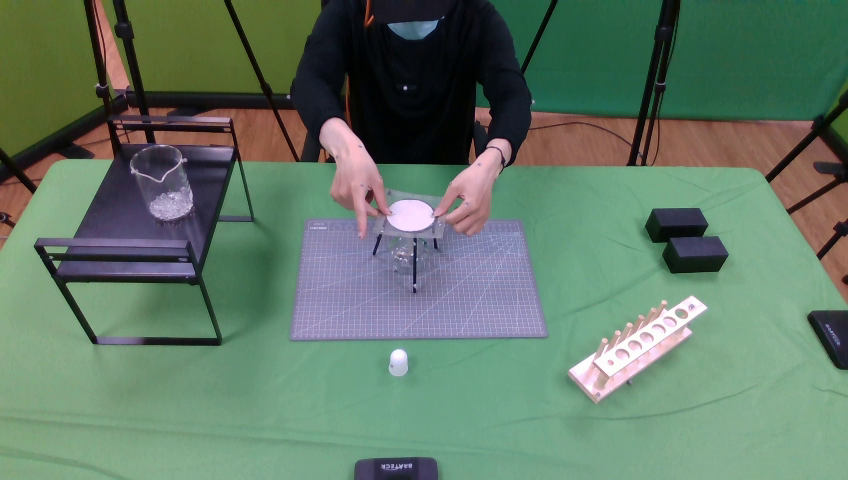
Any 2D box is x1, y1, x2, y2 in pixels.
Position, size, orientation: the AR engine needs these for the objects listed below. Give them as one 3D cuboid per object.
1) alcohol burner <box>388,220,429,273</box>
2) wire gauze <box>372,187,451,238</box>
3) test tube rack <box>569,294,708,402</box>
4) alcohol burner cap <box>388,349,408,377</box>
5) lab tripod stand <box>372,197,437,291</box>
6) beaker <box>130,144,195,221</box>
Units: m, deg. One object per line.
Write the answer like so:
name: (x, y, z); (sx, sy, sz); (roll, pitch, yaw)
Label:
alcohol burner: (-0.028, 0.006, 1.118); (0.078, 0.119, 0.077); (2, 48, -2)
wire gauze: (-0.019, -0.047, 1.058); (0.121, 0.011, 0.124); (9, 41, 3)
test tube rack: (0.360, 0.167, 1.014); (0.242, 0.085, 0.066); (-25, 53, -25)
alcohol burner cap: (-0.042, 0.197, 0.989); (0.034, 0.048, 0.033); (3, 46, -2)
lab tripod stand: (-0.025, -0.004, 1.111); (0.148, 0.132, 0.147); (3, 44, -3)
beaker: (-0.403, -0.085, 0.944); (0.074, 0.101, 0.083); (-15, 50, -17)
